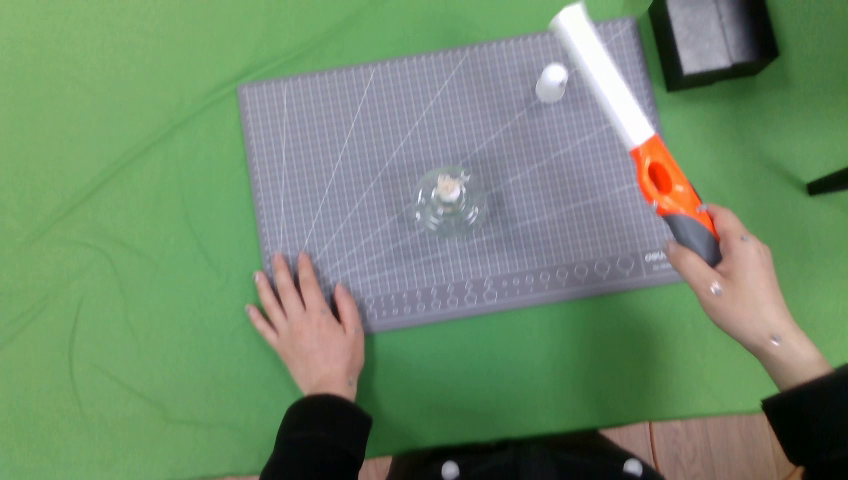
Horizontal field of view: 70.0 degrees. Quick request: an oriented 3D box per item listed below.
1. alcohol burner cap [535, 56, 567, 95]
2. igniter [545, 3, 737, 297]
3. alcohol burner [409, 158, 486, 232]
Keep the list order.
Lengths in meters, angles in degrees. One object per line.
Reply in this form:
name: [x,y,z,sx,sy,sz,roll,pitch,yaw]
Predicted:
alcohol burner cap: [0.137,-0.178,0.645,0.034,0.048,0.034,0,84,3]
igniter: [0.187,-0.075,0.512,0.057,0.025,0.276,-34,93,-35]
alcohol burner: [0.023,-0.047,0.598,0.078,0.119,0.077,0,84,3]
